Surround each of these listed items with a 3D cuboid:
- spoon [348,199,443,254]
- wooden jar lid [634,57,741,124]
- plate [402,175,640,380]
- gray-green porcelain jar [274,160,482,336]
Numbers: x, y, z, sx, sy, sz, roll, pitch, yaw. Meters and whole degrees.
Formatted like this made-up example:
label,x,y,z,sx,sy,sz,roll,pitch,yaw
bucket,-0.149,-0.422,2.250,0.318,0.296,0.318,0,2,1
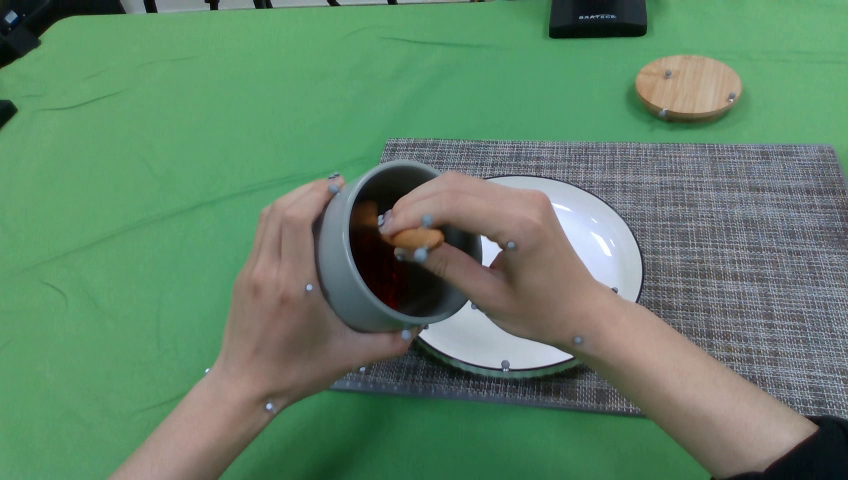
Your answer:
label,x,y,z,sx,sy,sz,roll,pitch,yaw
spoon,-0.025,-0.008,0.371,0.041,0.022,0.192,-30,18,-15
wooden jar lid,0.285,-0.162,0.660,0.108,0.021,0.107,-5,50,6
plate,0.072,0.029,0.512,0.207,0.039,0.205,-5,49,6
gray-green porcelain jar,-0.039,0.013,0.425,0.126,0.106,0.105,-19,30,53
